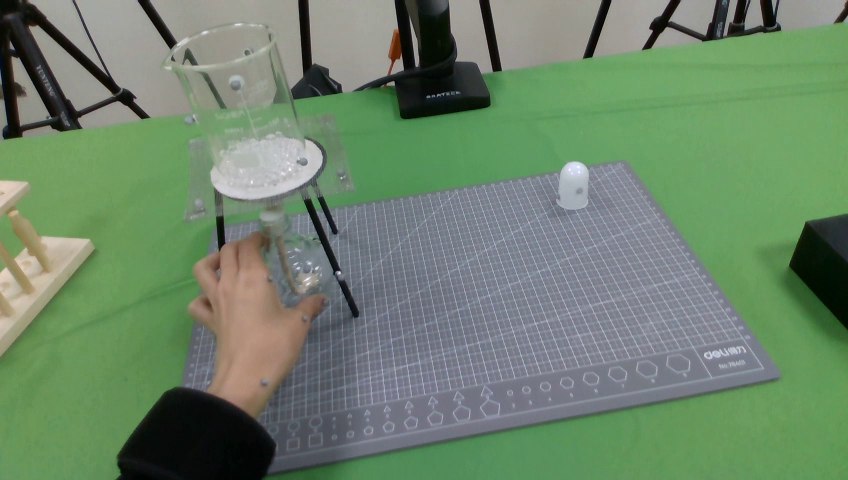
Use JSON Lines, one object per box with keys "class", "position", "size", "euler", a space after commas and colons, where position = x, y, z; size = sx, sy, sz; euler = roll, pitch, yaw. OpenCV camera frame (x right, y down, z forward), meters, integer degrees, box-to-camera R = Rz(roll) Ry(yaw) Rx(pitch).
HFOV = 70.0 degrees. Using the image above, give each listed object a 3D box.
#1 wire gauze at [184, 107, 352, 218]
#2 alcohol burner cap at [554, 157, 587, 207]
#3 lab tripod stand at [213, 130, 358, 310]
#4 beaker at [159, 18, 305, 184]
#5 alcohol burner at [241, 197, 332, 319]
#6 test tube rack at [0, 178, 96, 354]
{"class": "wire gauze", "position": [-0.125, -0.062, 0.476], "size": [0.125, 0.011, 0.120], "euler": [-15, 40, -5]}
{"class": "alcohol burner cap", "position": [0.148, -0.061, 0.606], "size": [0.034, 0.048, 0.033], "euler": [-4, 41, 4]}
{"class": "lab tripod stand", "position": [-0.119, -0.014, 0.520], "size": [0.148, 0.133, 0.147], "euler": [-4, 43, 4]}
{"class": "beaker", "position": [-0.134, -0.098, 0.444], "size": [0.084, 0.101, 0.073], "euler": [-14, 41, -6]}
{"class": "alcohol burner", "position": [-0.119, 0.009, 0.509], "size": [0.078, 0.120, 0.077], "euler": [-5, 40, 4]}
{"class": "test tube rack", "position": [-0.403, 0.051, 0.526], "size": [0.066, 0.086, 0.240], "euler": [4, 42, 12]}
